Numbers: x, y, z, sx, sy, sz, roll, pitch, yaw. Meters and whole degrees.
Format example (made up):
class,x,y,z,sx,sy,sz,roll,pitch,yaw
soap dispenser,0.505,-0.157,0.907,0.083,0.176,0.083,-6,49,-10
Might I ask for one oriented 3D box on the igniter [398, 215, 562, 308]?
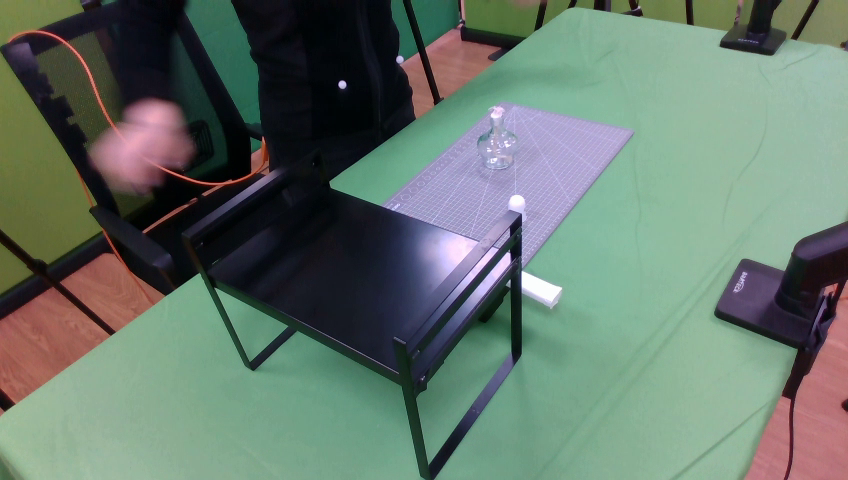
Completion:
class,x,y,z,sx,sy,sz,roll,pitch,yaw
igniter,0.068,0.024,0.863,0.274,0.025,0.057,26,50,29

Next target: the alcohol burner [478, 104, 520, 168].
class,x,y,z,sx,sy,sz,roll,pitch,yaw
alcohol burner,0.137,-0.193,1.106,0.078,0.119,0.077,-5,39,4

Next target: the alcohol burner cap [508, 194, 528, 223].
class,x,y,z,sx,sy,sz,roll,pitch,yaw
alcohol burner cap,0.155,-0.054,0.996,0.034,0.048,0.033,-4,39,4
